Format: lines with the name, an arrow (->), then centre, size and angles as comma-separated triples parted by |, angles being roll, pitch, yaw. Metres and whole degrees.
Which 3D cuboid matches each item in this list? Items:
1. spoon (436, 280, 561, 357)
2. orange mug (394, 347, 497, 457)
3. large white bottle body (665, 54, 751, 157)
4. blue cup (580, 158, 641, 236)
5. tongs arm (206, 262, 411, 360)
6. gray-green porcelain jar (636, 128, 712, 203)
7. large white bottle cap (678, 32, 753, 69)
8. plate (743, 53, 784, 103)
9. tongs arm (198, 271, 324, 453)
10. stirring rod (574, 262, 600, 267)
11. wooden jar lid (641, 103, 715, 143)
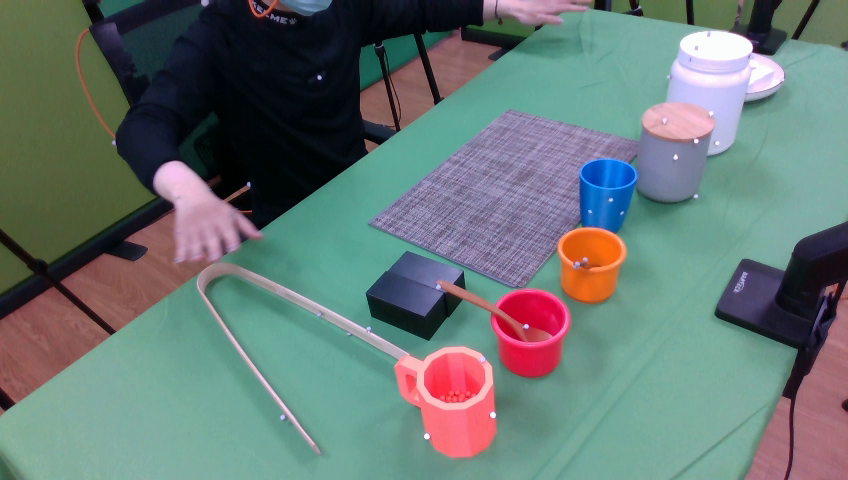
spoon -> 0.096, 0.095, 0.757 | 0.195, 0.021, 0.041 | 34, 40, -20
orange mug -> 0.024, 0.181, 0.703 | 0.125, 0.101, 0.083 | 20, 48, 23
large white bottle body -> 0.500, -0.257, 1.076 | 0.130, 0.185, 0.130 | -4, 41, 4
blue cup -> 0.283, -0.063, 0.947 | 0.092, 0.100, 0.092 | -3, 39, 3
tongs arm -> -0.179, 0.106, 0.870 | 0.381, 0.027, 0.051 | 23, 54, 32
gray-green porcelain jar -> 0.404, -0.133, 0.992 | 0.106, 0.127, 0.105 | -4, 40, 4
large white bottle cap -> 0.491, -0.321, 1.021 | 0.115, 0.018, 0.114 | -4, 41, 4
plate -> 0.631, -0.336, 1.262 | 0.207, 0.039, 0.206 | -4, 41, 4
tongs arm -> -0.236, 0.154, 0.831 | 0.028, 0.028, 0.384 | -37, 48, -18
stirring rod -> 0.222, 0.033, 0.816 | 0.014, 0.006, 0.177 | 8, 1, 22
wooden jar lid -> 0.398, -0.180, 0.952 | 0.108, 0.021, 0.108 | -4, 43, 4
